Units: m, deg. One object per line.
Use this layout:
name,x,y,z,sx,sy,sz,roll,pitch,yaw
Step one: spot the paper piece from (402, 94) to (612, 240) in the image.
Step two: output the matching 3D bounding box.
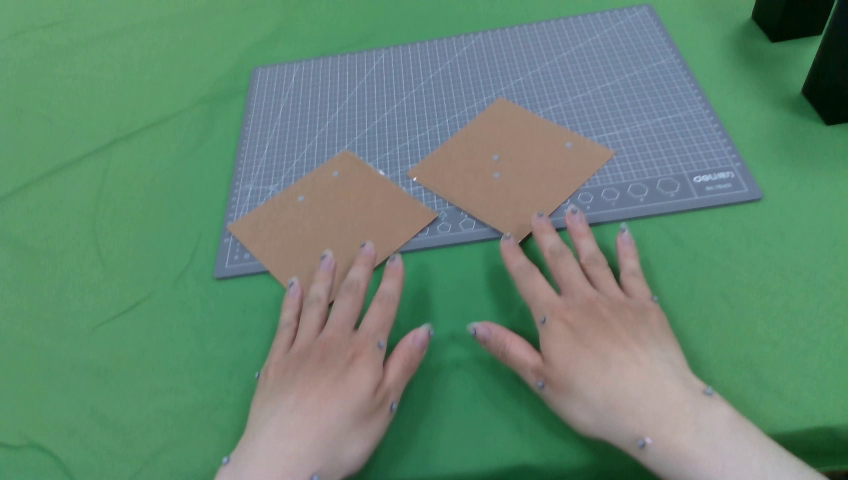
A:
paper piece,0.073,-0.072,0.540,0.134,0.004,0.135,34,63,32

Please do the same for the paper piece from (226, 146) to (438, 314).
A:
paper piece,-0.082,-0.017,0.523,0.138,0.009,0.134,-39,52,-19
